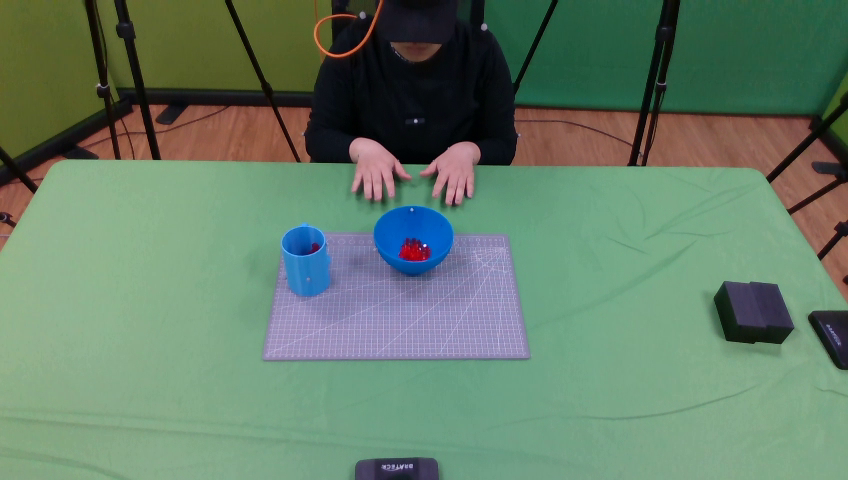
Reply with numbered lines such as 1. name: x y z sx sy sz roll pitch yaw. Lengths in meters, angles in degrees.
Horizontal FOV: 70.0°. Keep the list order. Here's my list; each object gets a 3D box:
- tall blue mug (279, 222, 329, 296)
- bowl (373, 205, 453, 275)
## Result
1. tall blue mug: -0.221 0.029 1.090 0.078 0.108 0.106 -26 53 -25
2. bowl: -0.022 0.013 1.143 0.151 0.077 0.150 2 46 -2
